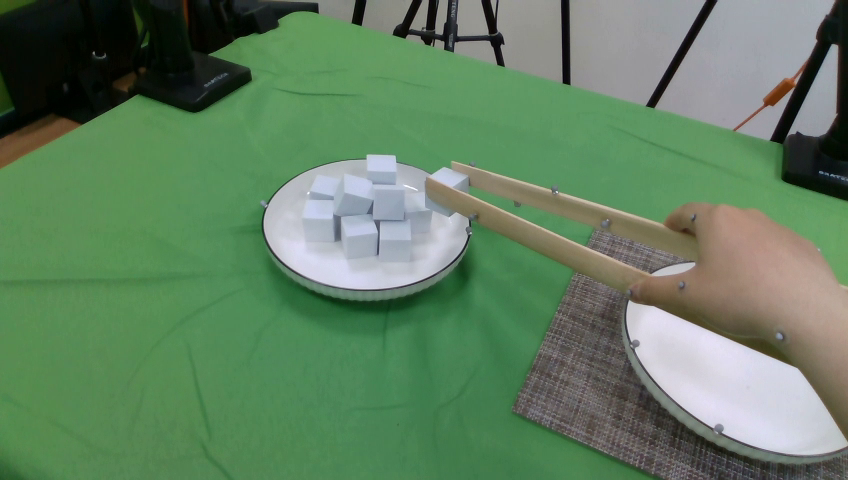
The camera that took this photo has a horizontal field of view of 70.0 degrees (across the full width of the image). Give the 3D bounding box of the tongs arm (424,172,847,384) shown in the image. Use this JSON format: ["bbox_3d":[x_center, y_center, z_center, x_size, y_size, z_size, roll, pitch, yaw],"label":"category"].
[{"bbox_3d":[0.137,0.013,0.451,0.028,0.028,0.384,-33,42,-32],"label":"tongs arm"}]

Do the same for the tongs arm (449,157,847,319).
[{"bbox_3d":[0.154,0.000,0.462,0.381,0.027,0.050,23,48,36],"label":"tongs arm"}]

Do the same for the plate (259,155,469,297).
[{"bbox_3d":[-0.059,-0.014,0.618,0.209,0.038,0.207,4,42,-3],"label":"plate"}]

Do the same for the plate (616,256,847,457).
[{"bbox_3d":[0.269,0.097,0.528,0.208,0.039,0.205,3,42,-3],"label":"plate"}]
